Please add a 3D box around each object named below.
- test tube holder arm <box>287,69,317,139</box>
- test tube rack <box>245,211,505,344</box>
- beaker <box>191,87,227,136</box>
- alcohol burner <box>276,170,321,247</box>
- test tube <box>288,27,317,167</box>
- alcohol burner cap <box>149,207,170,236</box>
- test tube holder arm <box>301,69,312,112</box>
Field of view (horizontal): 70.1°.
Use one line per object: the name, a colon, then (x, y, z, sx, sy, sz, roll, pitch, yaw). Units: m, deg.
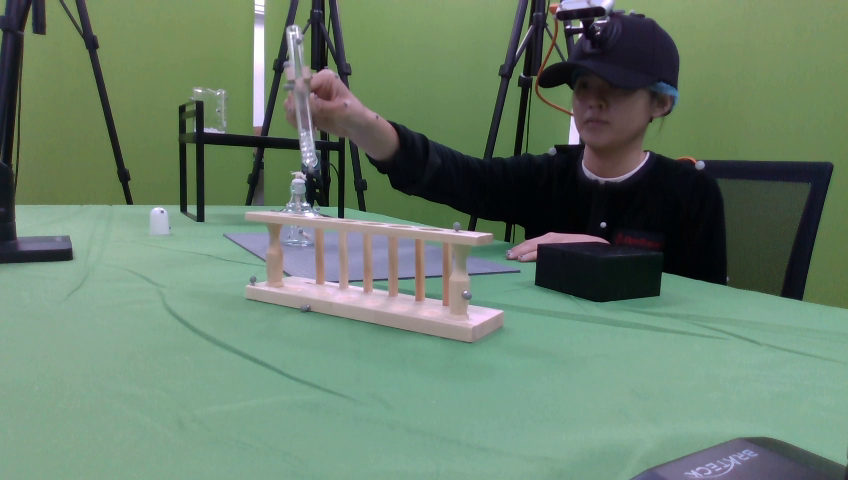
test tube holder arm: (-0.137, -0.150, 0.687, 0.013, 0.015, 0.178, -5, -9, -5)
test tube rack: (-0.049, 0.024, 0.547, 0.241, 0.085, 0.067, 7, 8, 29)
beaker: (-0.476, -0.284, 1.345, 0.074, 0.100, 0.083, -3, 10, -37)
alcohol burner: (-0.199, -0.049, 0.948, 0.078, 0.119, 0.078, 1, 8, 0)
test tube: (-0.125, -0.147, 0.618, 0.017, 0.150, 0.017, -8, -10, -1)
alcohol burner cap: (-0.445, -0.032, 1.019, 0.034, 0.048, 0.034, 4, 8, 0)
test tube holder arm: (-0.126, -0.158, 0.644, 0.010, 0.015, 0.087, -4, -9, -13)
